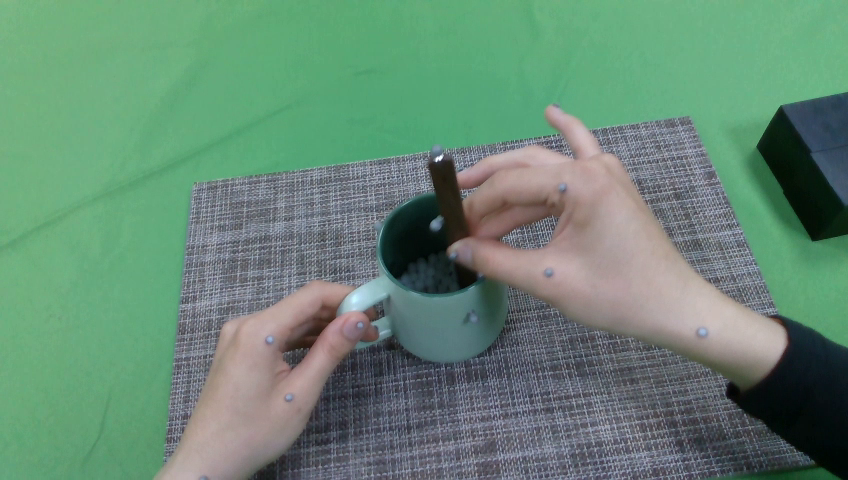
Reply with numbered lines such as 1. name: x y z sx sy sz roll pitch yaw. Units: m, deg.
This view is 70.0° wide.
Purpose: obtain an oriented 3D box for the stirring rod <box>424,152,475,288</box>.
1. stirring rod: 0.021 0.009 0.369 0.014 0.178 0.005 -12 54 4

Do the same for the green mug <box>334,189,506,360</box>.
1. green mug: -0.003 0.034 0.416 0.125 0.106 0.091 -28 61 -11
